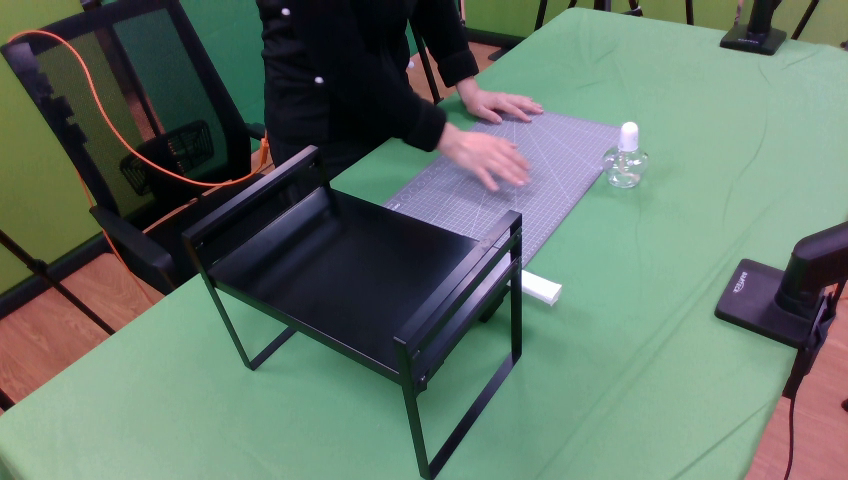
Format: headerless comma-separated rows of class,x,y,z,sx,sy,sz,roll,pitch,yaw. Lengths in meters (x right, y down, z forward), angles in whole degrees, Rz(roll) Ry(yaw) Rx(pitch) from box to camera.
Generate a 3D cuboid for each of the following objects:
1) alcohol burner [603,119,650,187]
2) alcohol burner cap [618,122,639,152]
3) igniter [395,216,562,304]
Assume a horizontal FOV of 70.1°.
alcohol burner,0.347,-0.151,1.030,0.078,0.119,0.077,-5,39,4
alcohol burner cap,0.342,-0.174,1.009,0.034,0.048,0.033,-5,38,4
igniter,0.066,0.023,0.864,0.274,0.025,0.057,24,48,28
